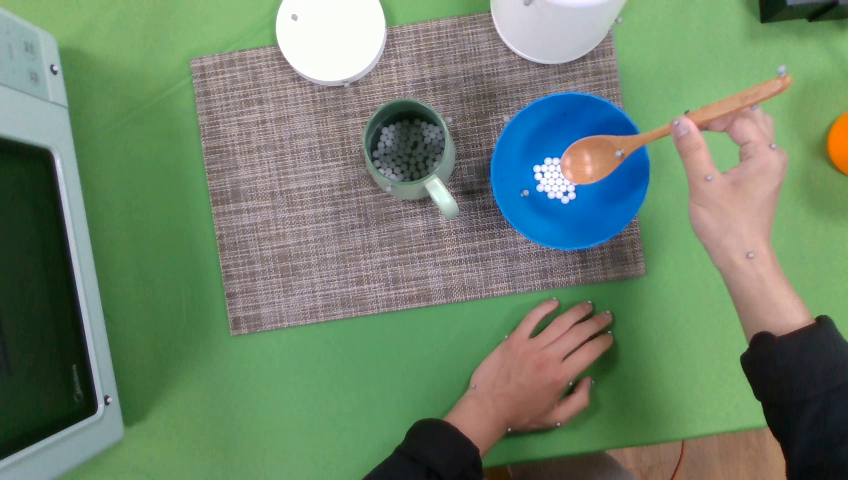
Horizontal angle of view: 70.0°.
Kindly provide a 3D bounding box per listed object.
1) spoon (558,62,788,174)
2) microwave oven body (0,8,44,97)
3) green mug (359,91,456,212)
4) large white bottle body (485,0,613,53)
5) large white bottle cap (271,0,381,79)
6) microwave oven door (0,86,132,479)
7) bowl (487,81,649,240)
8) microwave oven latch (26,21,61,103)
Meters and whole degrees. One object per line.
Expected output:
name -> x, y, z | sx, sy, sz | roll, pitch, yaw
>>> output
spoon -> 0.195, -0.098, 0.499 | 0.022, 0.193, 0.041 | -25, 94, -43
microwave oven body -> -0.517, 0.022, 0.536 | 0.326, 0.260, 0.441 | -11, 92, 1
green mug -> -0.009, -0.082, 0.597 | 0.092, 0.105, 0.125 | -36, 90, 1
large white bottle body -> 0.123, -0.263, 0.548 | 0.130, 0.185, 0.130 | 0, 87, 2
large white bottle cap -> -0.103, -0.229, 0.638 | 0.115, 0.018, 0.115 | 0, 91, 1
microwave oven door -> -0.365, 0.037, 0.527 | 0.039, 0.244, 0.355 | -11, 91, 2
bowl -> 0.136, -0.075, 0.607 | 0.151, 0.077, 0.151 | 0, 92, 2
microwave oven latch -> -0.401, -0.180, 0.623 | 0.030, 0.029, 0.079 | -10, 92, 1
